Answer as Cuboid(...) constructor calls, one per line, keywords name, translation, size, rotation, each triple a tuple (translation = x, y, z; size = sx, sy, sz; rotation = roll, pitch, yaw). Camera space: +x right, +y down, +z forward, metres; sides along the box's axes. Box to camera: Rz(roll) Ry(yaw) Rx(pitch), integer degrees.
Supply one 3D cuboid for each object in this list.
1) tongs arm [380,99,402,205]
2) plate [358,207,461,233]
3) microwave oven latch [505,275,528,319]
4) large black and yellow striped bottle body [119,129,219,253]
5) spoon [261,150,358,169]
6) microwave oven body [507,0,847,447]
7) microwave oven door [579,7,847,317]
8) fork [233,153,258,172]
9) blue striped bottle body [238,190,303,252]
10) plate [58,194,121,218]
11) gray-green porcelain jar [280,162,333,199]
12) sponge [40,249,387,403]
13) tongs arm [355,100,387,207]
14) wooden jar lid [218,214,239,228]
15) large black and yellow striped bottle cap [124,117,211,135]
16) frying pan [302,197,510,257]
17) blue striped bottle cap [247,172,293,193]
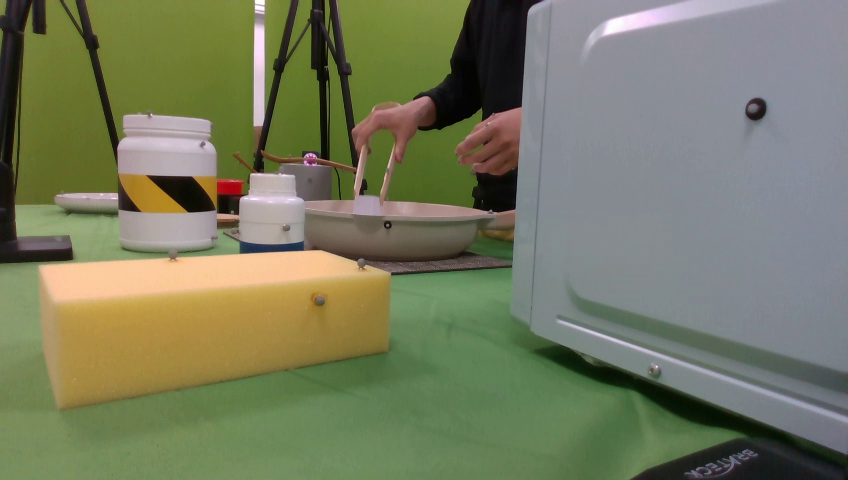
Cuboid(name="tongs arm", translation=(-0.072, -0.176, 1.123), size=(0.051, 0.026, 0.384), rotation=(-4, 35, 9))
Cuboid(name="plate", translation=(-0.030, -0.041, 1.214), size=(0.208, 0.039, 0.207), rotation=(3, 6, 0))
Cuboid(name="microwave oven latch", translation=(0.100, 0.041, 0.471), size=(0.079, 0.029, 0.030), rotation=(-1, 7, -28))
Cuboid(name="large black and yellow striped bottle body", translation=(-0.367, -0.080, 0.876), size=(0.131, 0.184, 0.130), rotation=(1, 7, 0))
Cuboid(name="spoon", translation=(-0.229, -0.162, 1.222), size=(0.194, 0.021, 0.041), rotation=(3, 1, -16))
Cuboid(name="microwave oven body", translation=(0.331, -0.042, 0.425), size=(0.444, 0.260, 0.324), rotation=(-2, 8, -31))
Cuboid(name="microwave oven door", translation=(0.294, -0.067, 0.570), size=(0.358, 0.243, 0.039), rotation=(-3, 9, -31))
Cuboid(name="fork", translation=(-0.396, -0.143, 1.486), size=(0.028, 0.018, 0.208), rotation=(21, -25, 45))
Cuboid(name="blue striped bottle body", translation=(-0.153, -0.007, 0.606), size=(0.063, 0.120, 0.063), rotation=(2, 8, 0))
Cuboid(name="plate", translation=(-0.671, -0.074, 1.310), size=(0.209, 0.038, 0.209), rotation=(2, 8, 0))
Cuboid(name="gray-green porcelain jar", translation=(-0.238, -0.092, 1.221), size=(0.106, 0.126, 0.106), rotation=(2, 7, 0))
Cuboid(name="sponge", translation=(-0.142, 0.047, 0.420), size=(0.208, 0.061, 0.117), rotation=(-3, 8, -36))
Cuboid(name="tongs arm", translation=(-0.098, -0.173, 1.125), size=(0.028, 0.028, 0.387), rotation=(-9, 34, 8))
Cuboid(name="wooden jar lid", translation=(-0.404, -0.037, 1.169), size=(0.108, 0.020, 0.108), rotation=(3, 7, 0))
Cuboid(name="large black and yellow striped bottle cap", translation=(-0.366, -0.163, 0.866), size=(0.115, 0.019, 0.115), rotation=(3, 7, 0))
Cuboid(name="frying pan", translation=(0.051, -0.035, 0.915), size=(0.487, 0.102, 0.307), rotation=(-5, 7, 11))
Cuboid(name="blue striped bottle cap", translation=(-0.152, -0.057, 0.598), size=(0.044, 0.020, 0.044), rotation=(3, 6, 0))
